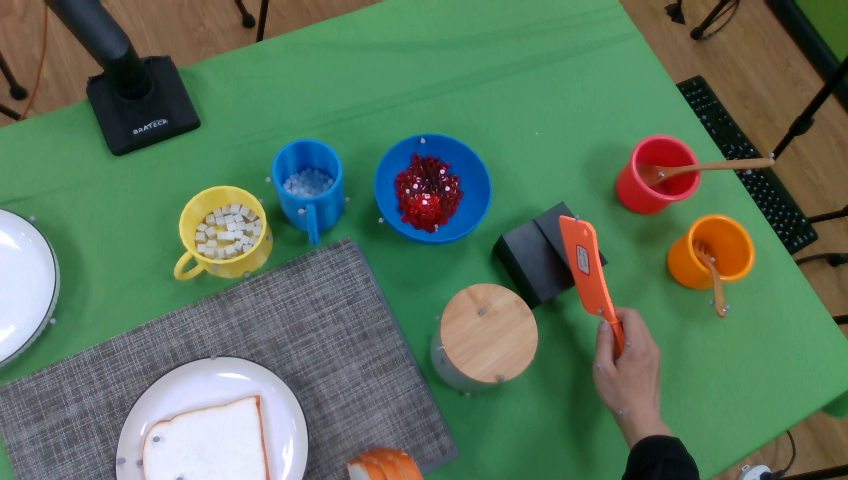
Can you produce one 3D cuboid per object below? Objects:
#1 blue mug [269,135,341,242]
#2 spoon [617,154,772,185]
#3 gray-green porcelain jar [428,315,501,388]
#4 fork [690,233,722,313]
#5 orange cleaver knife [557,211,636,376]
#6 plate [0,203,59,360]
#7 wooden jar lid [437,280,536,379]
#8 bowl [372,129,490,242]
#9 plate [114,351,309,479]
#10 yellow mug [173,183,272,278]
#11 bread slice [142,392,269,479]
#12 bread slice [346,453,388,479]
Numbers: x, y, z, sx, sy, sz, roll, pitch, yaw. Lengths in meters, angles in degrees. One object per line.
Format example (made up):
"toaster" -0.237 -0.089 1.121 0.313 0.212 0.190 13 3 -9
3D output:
"blue mug" -0.144 -0.055 0.757 0.082 0.106 0.116 -5 72 -8
"spoon" 0.357 -0.100 0.814 0.022 0.192 0.041 41 57 -41
"gray-green porcelain jar" 0.061 0.117 0.714 0.106 0.127 0.105 2 71 -7
"fork" 0.359 0.037 0.767 0.028 0.019 0.206 38 27 -1
"orange cleaver knife" 0.208 0.063 0.738 0.012 0.077 0.211 -21 95 -17
"plate" -0.534 0.055 0.705 0.208 0.039 0.206 2 71 -7
"wooden jar lid" 0.067 0.097 0.655 0.108 0.021 0.107 3 72 -9
"bowl" 0.005 -0.060 0.792 0.151 0.077 0.150 2 72 -6
"plate" -0.233 0.231 0.681 0.209 0.038 0.207 2 71 -6
"yellow mug" -0.255 -0.002 0.745 0.099 0.064 0.130 41 73 8
"bread slice" -0.246 0.236 0.681 0.132 0.019 0.104 -10 72 -14
"bread slice" -0.052 0.276 0.643 0.018 0.135 0.106 -16 72 -21
